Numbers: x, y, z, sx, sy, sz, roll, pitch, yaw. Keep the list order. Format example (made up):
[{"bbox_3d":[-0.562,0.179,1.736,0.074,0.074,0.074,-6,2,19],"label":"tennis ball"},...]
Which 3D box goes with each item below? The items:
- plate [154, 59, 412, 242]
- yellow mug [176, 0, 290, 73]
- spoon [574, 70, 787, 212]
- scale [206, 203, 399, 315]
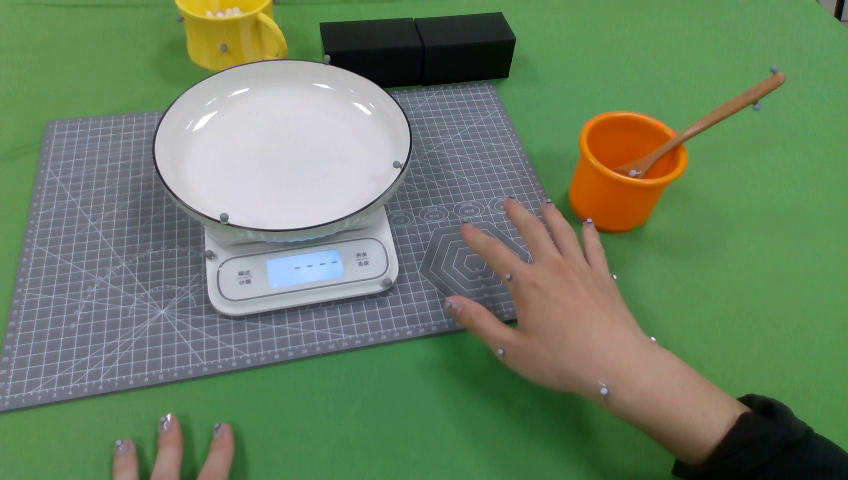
[{"bbox_3d":[-0.115,-0.077,0.513,0.209,0.038,0.207,3,52,-4],"label":"plate"},{"bbox_3d":[-0.195,-0.230,0.650,0.130,0.064,0.099,30,56,17],"label":"yellow mug"},{"bbox_3d":[0.216,-0.083,0.520,0.022,0.194,0.041,23,40,-47],"label":"spoon"},{"bbox_3d":[-0.110,-0.034,0.522,0.149,0.032,0.198,-9,54,-11],"label":"scale"}]
